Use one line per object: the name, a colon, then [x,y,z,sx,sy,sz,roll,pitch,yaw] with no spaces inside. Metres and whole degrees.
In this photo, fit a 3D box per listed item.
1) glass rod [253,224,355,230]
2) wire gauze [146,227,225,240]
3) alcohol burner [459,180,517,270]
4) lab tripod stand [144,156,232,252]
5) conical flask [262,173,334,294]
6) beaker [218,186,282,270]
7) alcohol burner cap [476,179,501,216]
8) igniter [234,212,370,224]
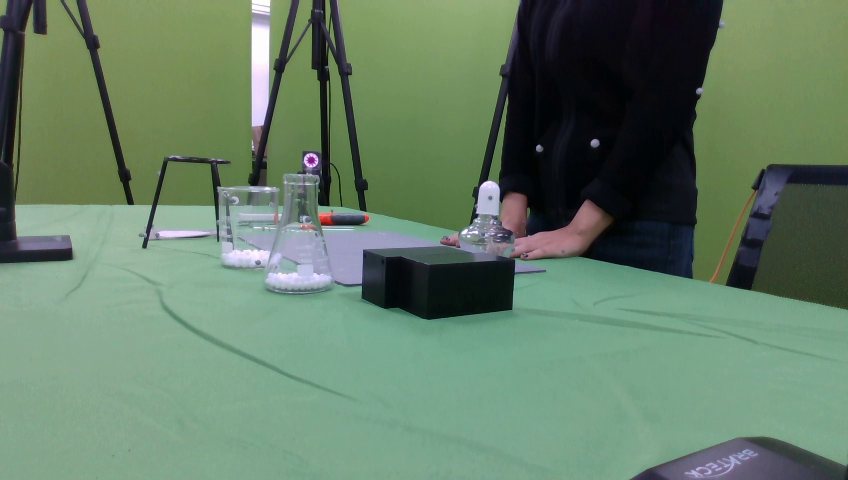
glass rod: [-0.227,-0.023,1.162,0.201,0.008,0.008,1,6,-29]
wire gauze: [-0.400,-0.012,1.019,0.122,0.011,0.124,-1,6,-26]
alcohol burner: [0.086,-0.021,0.806,0.078,0.119,0.078,3,9,0]
lab tripod stand: [-0.325,-0.054,0.881,0.148,0.131,0.148,4,7,0]
conical flask: [-0.131,-0.009,0.633,0.075,0.122,0.075,2,8,0]
beaker: [-0.222,-0.017,0.758,0.084,0.100,0.074,4,7,19]
alcohol burner cap: [0.086,-0.056,0.801,0.034,0.048,0.034,4,2,0]
igniter: [-0.247,-0.046,1.253,0.278,0.025,0.057,-1,-3,-27]
